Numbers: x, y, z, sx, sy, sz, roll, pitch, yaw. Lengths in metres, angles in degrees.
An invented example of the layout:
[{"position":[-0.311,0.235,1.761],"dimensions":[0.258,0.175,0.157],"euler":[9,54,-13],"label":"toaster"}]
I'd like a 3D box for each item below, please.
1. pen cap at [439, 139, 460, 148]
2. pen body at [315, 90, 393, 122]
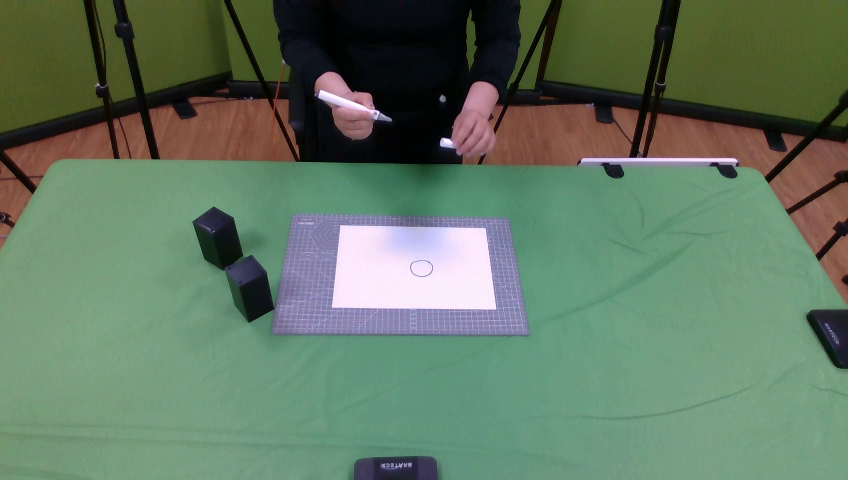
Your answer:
[{"position":[0.047,-0.180,1.128],"dimensions":[0.038,0.017,0.017],"euler":[-8,46,-27],"label":"pen cap"},{"position":[-0.123,-0.236,1.082],"dimensions":[0.144,0.017,0.017],"euler":[20,46,-3],"label":"pen body"}]
